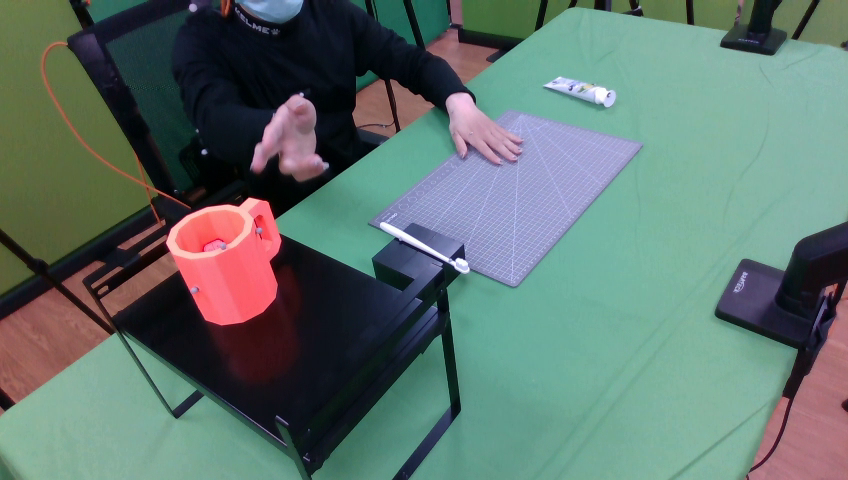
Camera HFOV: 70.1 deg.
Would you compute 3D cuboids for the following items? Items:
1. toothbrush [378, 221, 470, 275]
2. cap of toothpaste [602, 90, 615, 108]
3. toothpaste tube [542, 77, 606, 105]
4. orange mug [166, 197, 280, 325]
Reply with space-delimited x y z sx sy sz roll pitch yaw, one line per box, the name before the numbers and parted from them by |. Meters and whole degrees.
toothbrush | -0.004 0.008 0.894 0.180 0.017 0.014 27 55 34
cap of toothpaste | 0.378 -0.291 1.245 0.037 0.037 0.011 -30 41 -25
toothpaste tube | 0.333 -0.324 1.300 0.055 0.034 0.163 -27 40 -28
orange mug | -0.203 0.014 0.650 0.083 0.101 0.126 12 48 22
